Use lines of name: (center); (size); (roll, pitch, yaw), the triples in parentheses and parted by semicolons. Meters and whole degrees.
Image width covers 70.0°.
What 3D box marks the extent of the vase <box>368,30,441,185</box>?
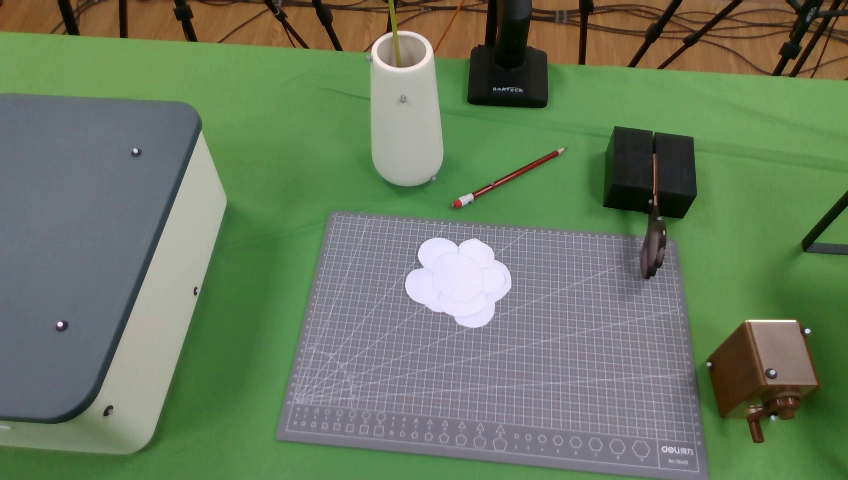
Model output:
vase: (-0.027, -0.161, 0.761); (0.098, 0.202, 0.097); (-1, 56, 1)

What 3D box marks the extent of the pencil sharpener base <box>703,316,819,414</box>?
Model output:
pencil sharpener base: (0.344, 0.135, 0.627); (0.061, 0.108, 0.076); (1, 58, 1)

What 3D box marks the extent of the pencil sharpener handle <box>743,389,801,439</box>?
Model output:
pencil sharpener handle: (0.339, 0.170, 0.589); (0.036, 0.068, 0.030); (9, 57, -12)

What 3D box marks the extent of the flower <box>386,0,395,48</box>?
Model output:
flower: (-0.034, -0.217, 0.699); (0.044, 0.365, 0.038); (-2, 40, 3)

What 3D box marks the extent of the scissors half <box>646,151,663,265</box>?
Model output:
scissors half: (0.279, -0.045, 0.740); (0.013, 0.040, 0.173); (7, 53, 6)

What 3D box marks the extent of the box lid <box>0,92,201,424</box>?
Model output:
box lid: (-0.391, -0.010, 0.598); (0.263, 0.015, 0.368); (4, 57, 2)

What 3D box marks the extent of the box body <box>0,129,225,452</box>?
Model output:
box body: (-0.391, 0.032, 0.659); (0.254, 0.162, 0.361); (3, 57, 2)

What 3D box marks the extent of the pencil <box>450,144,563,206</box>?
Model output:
pencil: (0.117, -0.092, 0.830); (0.194, 0.012, 0.012); (-29, 61, -19)

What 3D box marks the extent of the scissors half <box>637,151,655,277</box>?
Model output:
scissors half: (0.279, -0.035, 0.758); (0.013, 0.040, 0.174); (10, 70, 2)
